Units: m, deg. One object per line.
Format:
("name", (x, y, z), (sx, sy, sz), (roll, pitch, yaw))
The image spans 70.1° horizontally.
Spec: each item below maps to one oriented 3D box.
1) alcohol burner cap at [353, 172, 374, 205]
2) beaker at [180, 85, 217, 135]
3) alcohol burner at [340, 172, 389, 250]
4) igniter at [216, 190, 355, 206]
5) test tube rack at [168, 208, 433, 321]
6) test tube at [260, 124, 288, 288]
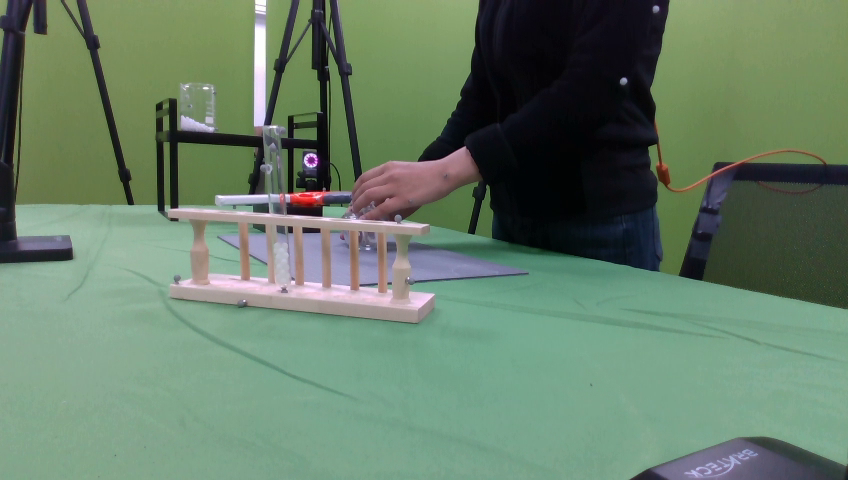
("alcohol burner cap", (-0.092, -0.081, 0.936), (0.034, 0.048, 0.034), (6, 12, -1))
("beaker", (-0.478, -0.275, 1.279), (0.074, 0.100, 0.084), (4, 8, 15))
("alcohol burner", (-0.094, -0.045, 0.938), (0.078, 0.119, 0.078), (-1, 7, 0))
("igniter", (-0.249, -0.079, 1.152), (0.278, 0.025, 0.057), (-4, 12, -27))
("test tube rack", (-0.116, 0.017, 0.574), (0.242, 0.085, 0.067), (4, 8, 14))
("test tube", (-0.137, -0.030, 0.554), (0.017, 0.150, 0.017), (-2, 10, 1))
